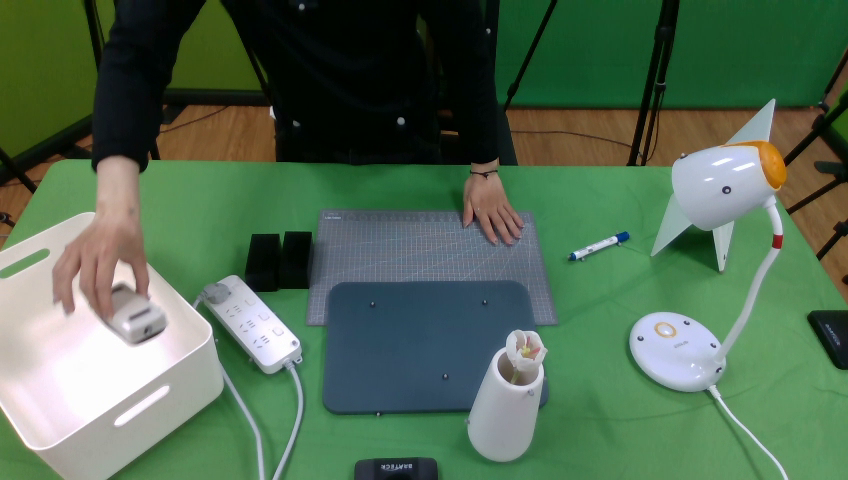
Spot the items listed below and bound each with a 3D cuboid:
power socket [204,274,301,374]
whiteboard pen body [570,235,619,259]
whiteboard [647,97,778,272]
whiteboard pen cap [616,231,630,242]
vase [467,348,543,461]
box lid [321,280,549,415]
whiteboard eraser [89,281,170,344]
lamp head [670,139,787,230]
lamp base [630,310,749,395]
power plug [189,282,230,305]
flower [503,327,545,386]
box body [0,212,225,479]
[{"bbox_3d":[-0.296,0.140,1.035,0.072,0.033,0.225,-33,57,-30],"label":"power socket"},{"bbox_3d":[0.351,0.011,1.215,0.141,0.017,0.017,-20,51,-23],"label":"whiteboard pen body"},{"bbox_3d":[0.602,-0.079,1.162,0.144,0.306,0.216,35,51,3],"label":"whiteboard"},{"bbox_3d":[0.403,-0.007,1.235,0.033,0.018,0.018,-19,50,-24],"label":"whiteboard pen cap"},{"bbox_3d":[0.116,0.235,0.860,0.098,0.201,0.097,1,47,-1],"label":"vase"},{"bbox_3d":[0.013,0.174,1.040,0.372,0.015,0.261,0,47,-4],"label":"box lid"},{"bbox_3d":[-0.402,0.100,0.827,0.112,0.042,0.055,26,40,30],"label":"whiteboard eraser"},{"bbox_3d":[0.415,-0.078,0.811,0.113,0.123,0.112,12,70,-37],"label":"lamp head"},{"bbox_3d":[0.447,0.143,0.984,0.161,0.181,0.178,-24,55,-24],"label":"lamp base"},{"bbox_3d":[-0.369,0.097,1.038,0.072,0.053,0.035,-26,54,-21],"label":"power plug"},{"bbox_3d":[0.114,0.189,0.790,0.044,0.363,0.038,33,69,18],"label":"flower"},{"bbox_3d":[-0.506,0.155,0.915,0.362,0.161,0.254,35,53,26],"label":"box body"}]
